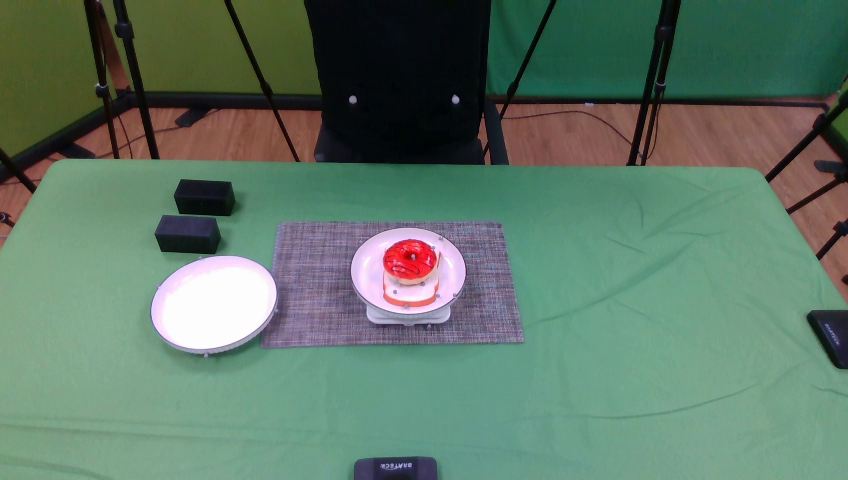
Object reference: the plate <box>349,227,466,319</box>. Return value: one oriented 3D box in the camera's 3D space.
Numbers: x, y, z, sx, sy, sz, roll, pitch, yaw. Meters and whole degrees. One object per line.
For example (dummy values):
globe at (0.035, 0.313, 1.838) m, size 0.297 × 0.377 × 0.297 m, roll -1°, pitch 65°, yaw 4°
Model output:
plate at (-0.029, 0.061, 1.077) m, size 0.209 × 0.038 × 0.208 m, roll 2°, pitch 46°, yaw -2°

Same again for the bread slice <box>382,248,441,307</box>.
bread slice at (-0.023, 0.064, 1.077) m, size 0.105 × 0.019 × 0.130 m, roll 2°, pitch 46°, yaw 0°

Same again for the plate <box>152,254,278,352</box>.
plate at (-0.357, 0.111, 1.052) m, size 0.208 × 0.039 × 0.206 m, roll 2°, pitch 46°, yaw -2°

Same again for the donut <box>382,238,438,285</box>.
donut at (-0.025, 0.036, 1.064) m, size 0.099 × 0.048 × 0.098 m, roll 0°, pitch 44°, yaw 0°

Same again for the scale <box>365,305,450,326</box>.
scale at (-0.032, 0.071, 1.113) m, size 0.149 × 0.032 × 0.199 m, roll 0°, pitch 46°, yaw -4°
